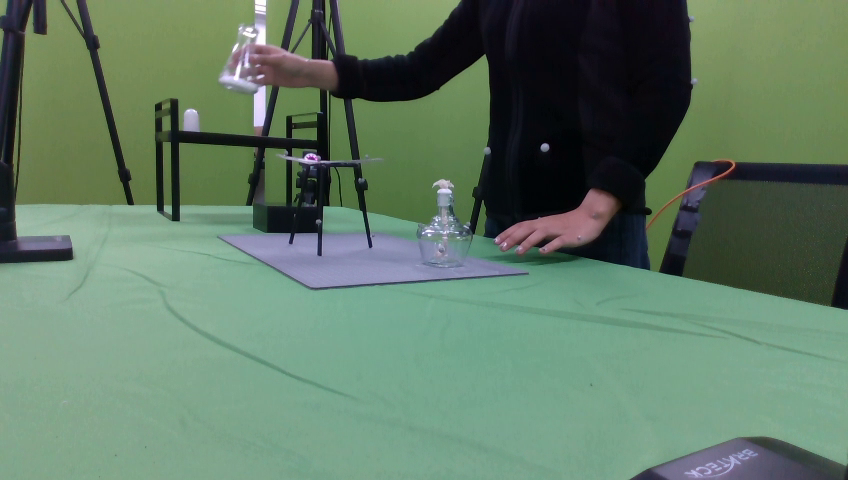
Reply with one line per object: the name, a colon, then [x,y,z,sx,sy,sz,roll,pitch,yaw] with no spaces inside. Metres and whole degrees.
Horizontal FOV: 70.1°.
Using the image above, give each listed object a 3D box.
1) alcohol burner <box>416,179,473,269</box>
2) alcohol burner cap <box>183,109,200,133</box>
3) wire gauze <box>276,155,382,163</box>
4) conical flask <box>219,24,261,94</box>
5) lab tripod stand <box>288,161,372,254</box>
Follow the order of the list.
alcohol burner: [0.028,-0.022,0.816,0.078,0.119,0.078,0,7,0]
alcohol burner cap: [-0.472,-0.241,1.229,0.034,0.048,0.034,4,8,0]
wire gauze: [-0.142,-0.118,0.899,0.122,0.011,0.124,-3,8,-36]
conical flask: [-0.340,-0.344,1.148,0.075,0.122,0.075,11,0,0]
lab tripod stand: [-0.148,-0.052,0.908,0.148,0.131,0.148,1,8,0]
